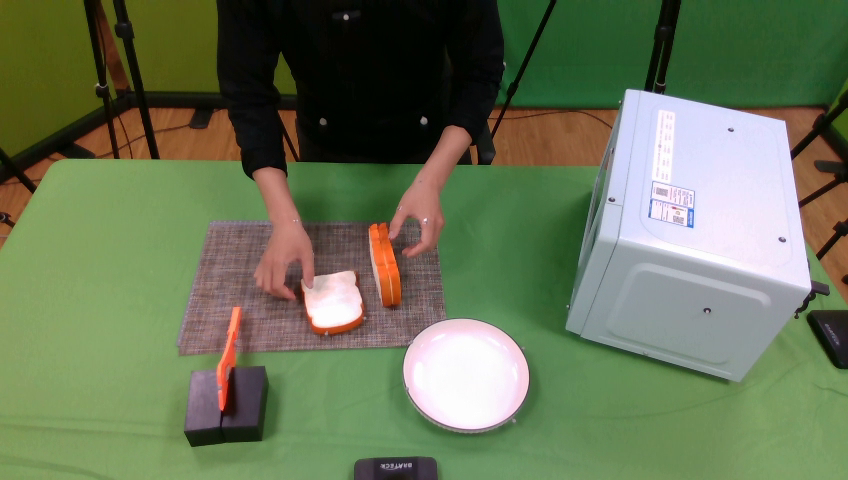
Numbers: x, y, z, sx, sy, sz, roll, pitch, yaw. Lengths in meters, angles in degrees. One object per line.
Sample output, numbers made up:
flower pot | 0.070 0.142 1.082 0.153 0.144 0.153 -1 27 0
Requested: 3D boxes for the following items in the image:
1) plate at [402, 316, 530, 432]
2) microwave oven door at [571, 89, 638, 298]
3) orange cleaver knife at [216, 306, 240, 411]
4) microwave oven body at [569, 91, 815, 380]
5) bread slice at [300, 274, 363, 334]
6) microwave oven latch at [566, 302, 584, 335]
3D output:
plate | 0.066 0.217 0.982 0.208 0.039 0.206 2 46 -2
microwave oven door | 0.343 -0.091 1.132 0.039 0.245 0.354 15 47 10
orange cleaver knife | -0.307 0.180 0.957 0.012 0.077 0.210 -2 25 -8
microwave oven body | 0.468 -0.022 1.082 0.325 0.261 0.440 15 46 11
bread slice | -0.164 0.113 1.076 0.107 0.018 0.133 -11 38 -7
microwave oven latch | 0.268 0.126 1.059 0.030 0.029 0.079 16 46 12
